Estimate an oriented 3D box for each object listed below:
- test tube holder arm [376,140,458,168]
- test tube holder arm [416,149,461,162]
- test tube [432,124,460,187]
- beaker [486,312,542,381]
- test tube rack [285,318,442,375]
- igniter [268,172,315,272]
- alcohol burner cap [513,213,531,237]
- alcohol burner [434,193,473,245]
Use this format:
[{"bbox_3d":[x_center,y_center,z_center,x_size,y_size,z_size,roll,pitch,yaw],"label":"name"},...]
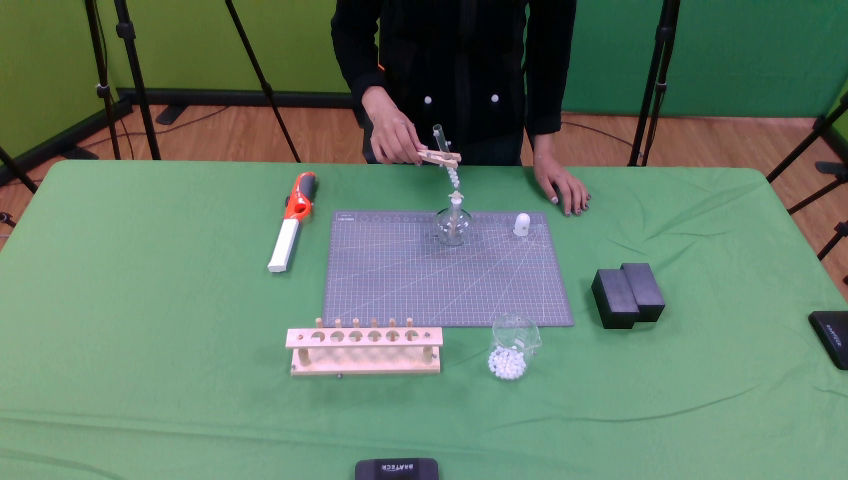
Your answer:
[{"bbox_3d":[-0.016,-0.157,1.096,0.177,0.015,0.013,18,59,30],"label":"test tube holder arm"},{"bbox_3d":[0.024,-0.151,1.077,0.087,0.015,0.010,10,56,25],"label":"test tube holder arm"},{"bbox_3d":[0.041,-0.144,1.062,0.017,0.151,0.017,-10,51,13],"label":"test tube"},{"bbox_3d":[0.144,0.177,0.985,0.084,0.101,0.074,22,49,16],"label":"beaker"},{"bbox_3d":[-0.095,0.167,0.986,0.242,0.085,0.066,0,46,-4],"label":"test tube rack"},{"bbox_3d":[-0.263,-0.045,1.219,0.057,0.025,0.275,-2,45,8],"label":"igniter"},{"bbox_3d":[0.200,-0.034,1.227,0.034,0.048,0.033,2,46,-2],"label":"alcohol burner cap"},{"bbox_3d":[0.059,-0.047,1.180,0.078,0.120,0.077,1,48,-1],"label":"alcohol burner"}]
